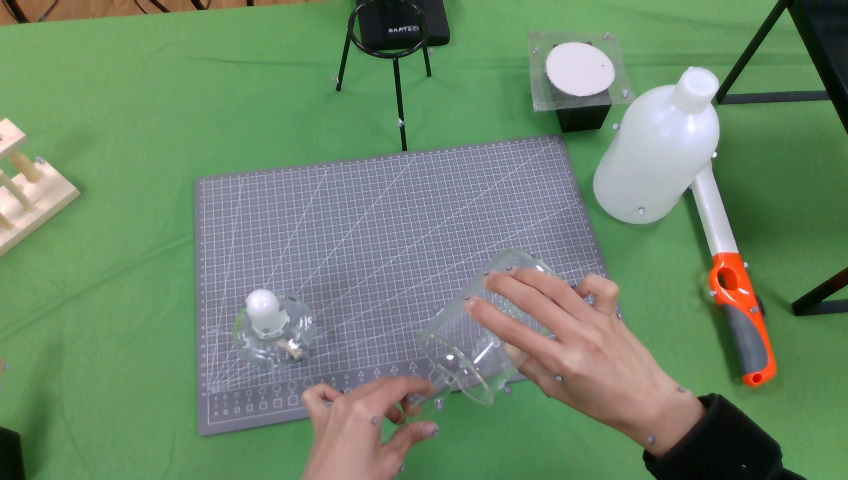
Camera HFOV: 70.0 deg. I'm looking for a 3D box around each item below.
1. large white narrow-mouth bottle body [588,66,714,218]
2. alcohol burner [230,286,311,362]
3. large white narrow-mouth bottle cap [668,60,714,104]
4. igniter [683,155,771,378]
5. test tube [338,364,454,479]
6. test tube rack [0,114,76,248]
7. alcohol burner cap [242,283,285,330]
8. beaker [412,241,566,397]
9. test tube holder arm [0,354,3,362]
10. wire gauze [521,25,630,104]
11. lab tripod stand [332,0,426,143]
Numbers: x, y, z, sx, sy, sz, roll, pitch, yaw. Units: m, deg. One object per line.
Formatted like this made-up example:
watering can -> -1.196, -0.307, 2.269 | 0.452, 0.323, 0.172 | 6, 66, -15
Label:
large white narrow-mouth bottle body -> 0.248, -0.109, 0.650 | 0.102, 0.196, 0.101 | 1, 63, -2
alcohol burner -> -0.149, 0.074, 0.581 | 0.078, 0.120, 0.077 | 2, 62, -4
large white narrow-mouth bottle cap -> 0.251, -0.150, 0.573 | 0.038, 0.024, 0.037 | 1, 64, -2
igniter -> 0.336, 0.019, 0.685 | 0.057, 0.025, 0.274 | 2, 63, -13
test tube -> -0.026, 0.156, 0.502 | 0.017, 0.017, 0.150 | 47, 111, 18
test tube rack -> -0.500, -0.015, 0.624 | 0.066, 0.086, 0.242 | 37, 68, 14
alcohol burner cap -> -0.148, 0.059, 0.549 | 0.034, 0.048, 0.033 | 0, 59, 0
beaker -> 0.052, 0.057, 0.457 | 0.073, 0.084, 0.100 | 40, 70, 16
test tube holder arm -> -0.404, 0.182, 0.519 | 0.013, 0.015, 0.177 | 1, 64, 7
wire gauze -> 0.184, -0.220, 0.749 | 0.121, 0.011, 0.124 | -1, 64, -3
lab tripod stand -> -0.044, -0.211, 0.718 | 0.148, 0.132, 0.147 | 2, 64, -4
